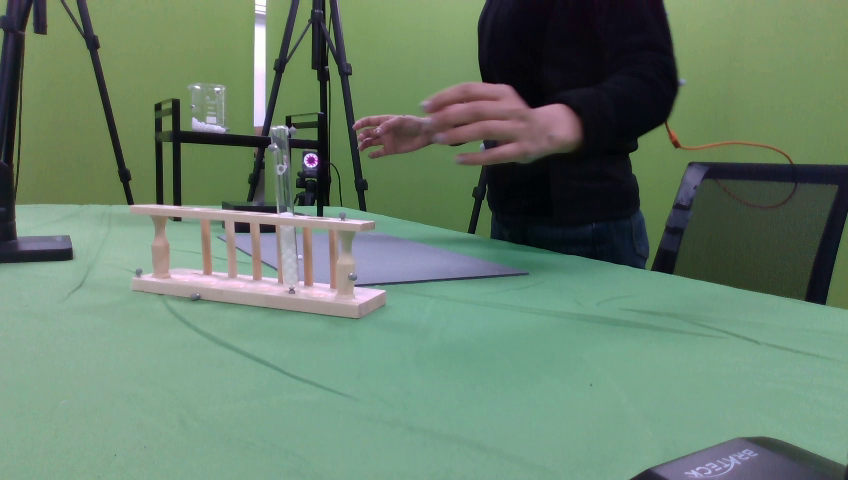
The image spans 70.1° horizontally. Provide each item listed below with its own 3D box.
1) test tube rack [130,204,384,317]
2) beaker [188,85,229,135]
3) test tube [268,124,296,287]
[{"bbox_3d":[-0.163,0.014,0.589,0.242,0.085,0.067,5,8,17],"label":"test tube rack"},{"bbox_3d":[-0.457,-0.275,1.283,0.084,0.100,0.073,-5,9,-40],"label":"beaker"},{"bbox_3d":[-0.131,-0.030,0.557,0.017,0.150,0.017,-3,5,1],"label":"test tube"}]
